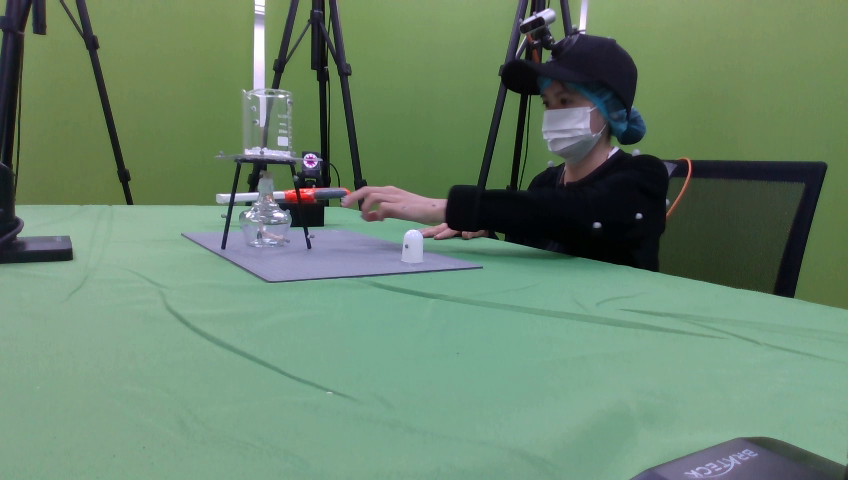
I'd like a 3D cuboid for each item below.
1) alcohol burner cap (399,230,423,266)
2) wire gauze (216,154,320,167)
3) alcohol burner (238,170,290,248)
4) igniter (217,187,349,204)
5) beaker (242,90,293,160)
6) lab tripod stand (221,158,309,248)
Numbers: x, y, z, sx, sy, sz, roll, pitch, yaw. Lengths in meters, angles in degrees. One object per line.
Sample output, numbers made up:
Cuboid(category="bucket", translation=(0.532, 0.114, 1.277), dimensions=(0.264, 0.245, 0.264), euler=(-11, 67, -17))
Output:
Cuboid(category="alcohol burner cap", translation=(-0.017, 0.010, 0.837), dimensions=(0.034, 0.048, 0.034), euler=(3, 7, 0))
Cuboid(category="wire gauze", translation=(-0.236, -0.121, 0.906), dimensions=(0.126, 0.011, 0.121), euler=(0, 8, -33))
Cuboid(category="alcohol burner", translation=(-0.244, -0.048, 0.927), dimensions=(0.078, 0.119, 0.078), euler=(3, 5, 0))
Cuboid(category="igniter", translation=(-0.285, -0.093, 1.256), dimensions=(0.278, 0.025, 0.057), euler=(-6, 12, -34))
Cuboid(category="beaker", translation=(-0.235, -0.169, 0.900), dimensions=(0.074, 0.100, 0.084), euler=(4, 7, 23))
Cuboid(category="lab tripod stand", translation=(-0.244, -0.057, 0.917), dimensions=(0.148, 0.131, 0.148), euler=(1, 7, 0))
